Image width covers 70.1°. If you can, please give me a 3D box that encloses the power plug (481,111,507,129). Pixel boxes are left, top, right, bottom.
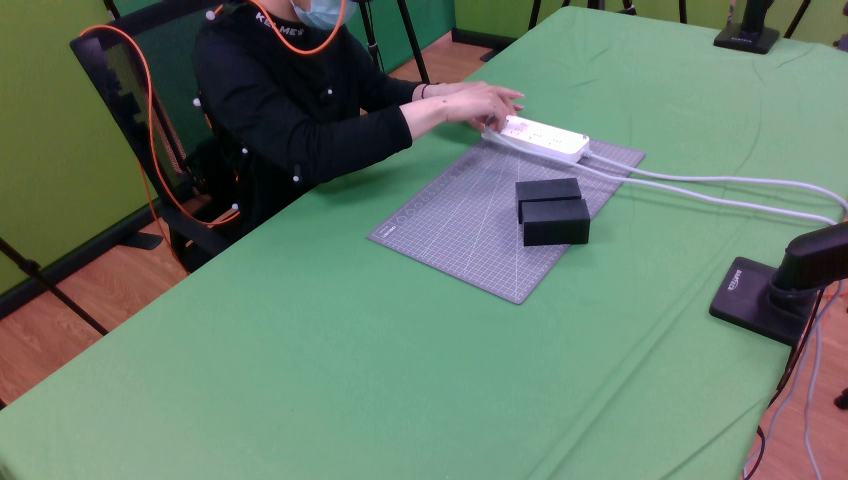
[{"bbox_3d":[0.129,-0.221,1.165,0.073,0.053,0.035,-33,48,-23],"label":"power plug"}]

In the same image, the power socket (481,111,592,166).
[{"bbox_3d":[0.208,-0.197,1.156,0.225,0.033,0.072,26,51,32],"label":"power socket"}]
